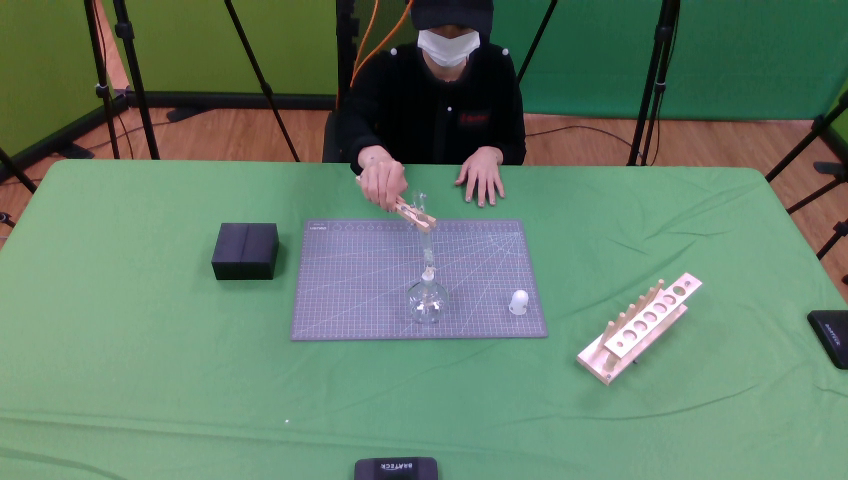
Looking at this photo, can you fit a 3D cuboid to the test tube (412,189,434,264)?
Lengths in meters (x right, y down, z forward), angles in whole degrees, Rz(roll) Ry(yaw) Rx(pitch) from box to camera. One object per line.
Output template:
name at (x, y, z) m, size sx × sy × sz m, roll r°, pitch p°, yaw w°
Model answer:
test tube at (-0.001, -0.017, 0.946) m, size 0.017 × 0.151 × 0.017 m, roll -6°, pitch 43°, yaw 5°

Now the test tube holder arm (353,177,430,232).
test tube holder arm at (-0.056, -0.059, 0.968) m, size 0.177 × 0.015 × 0.013 m, roll 32°, pitch 52°, yaw 32°

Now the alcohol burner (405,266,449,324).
alcohol burner at (0.005, 0.089, 1.043) m, size 0.078 × 0.120 × 0.077 m, roll 1°, pitch 45°, yaw -1°

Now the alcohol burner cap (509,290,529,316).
alcohol burner cap at (0.171, 0.110, 1.086) m, size 0.034 × 0.048 × 0.033 m, roll 2°, pitch 45°, yaw -2°

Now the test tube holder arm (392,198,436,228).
test tube holder arm at (-0.019, -0.043, 0.948) m, size 0.087 × 0.015 × 0.010 m, roll 26°, pitch 50°, yaw 28°

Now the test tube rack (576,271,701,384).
test tube rack at (0.373, 0.138, 1.047) m, size 0.242 × 0.085 × 0.066 m, roll -31°, pitch 56°, yaw -29°
